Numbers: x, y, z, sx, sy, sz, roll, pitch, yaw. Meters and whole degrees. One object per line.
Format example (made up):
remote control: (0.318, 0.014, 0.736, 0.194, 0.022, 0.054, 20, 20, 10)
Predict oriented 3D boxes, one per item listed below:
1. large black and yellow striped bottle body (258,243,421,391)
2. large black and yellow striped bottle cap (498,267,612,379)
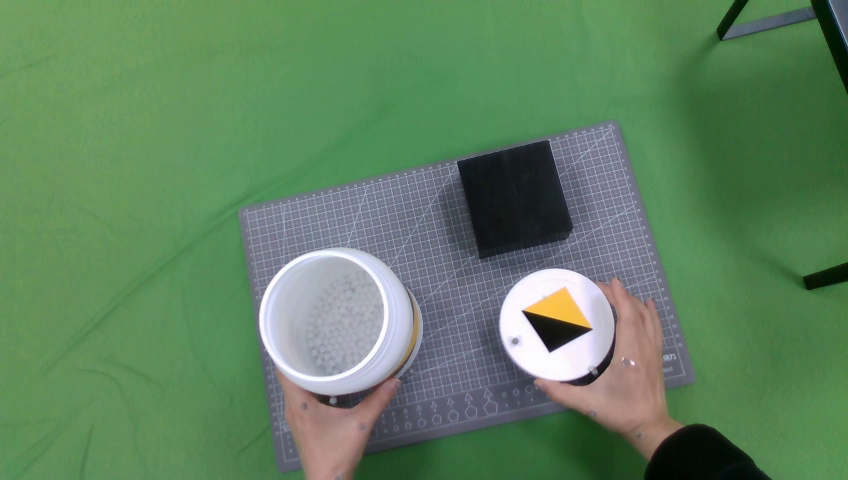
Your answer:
large black and yellow striped bottle body: (-0.075, 0.076, 0.580, 0.131, 0.185, 0.130, -1, 79, 5)
large black and yellow striped bottle cap: (0.133, 0.083, 0.618, 0.115, 0.019, 0.114, -2, 74, 6)
